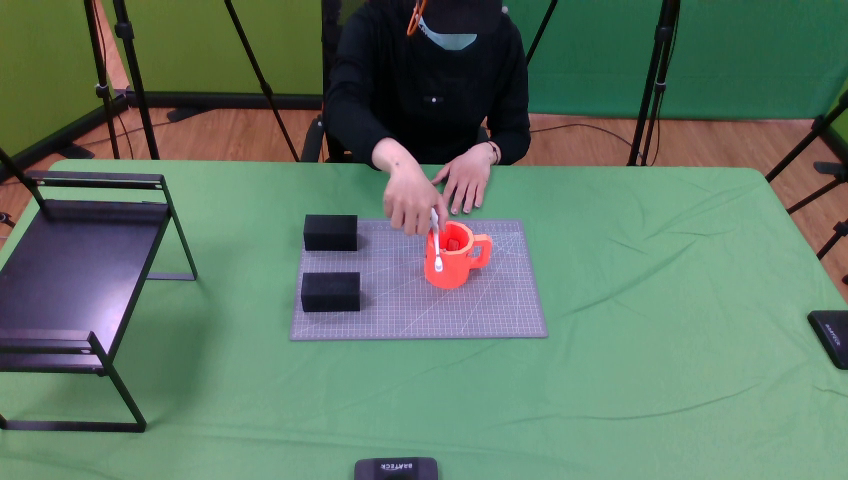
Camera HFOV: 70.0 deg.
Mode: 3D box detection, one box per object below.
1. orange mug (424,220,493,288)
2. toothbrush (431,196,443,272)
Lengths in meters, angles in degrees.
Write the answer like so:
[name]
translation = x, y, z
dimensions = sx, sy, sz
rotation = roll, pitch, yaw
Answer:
[orange mug]
translation = 0.063, 0.023, 1.119
dimensions = 0.126, 0.101, 0.083
rotation = -9, 47, -7
[toothbrush]
translation = 0.022, -0.016, 1.081
dimensions = 0.014, 0.017, 0.180
rotation = -6, 47, 3
